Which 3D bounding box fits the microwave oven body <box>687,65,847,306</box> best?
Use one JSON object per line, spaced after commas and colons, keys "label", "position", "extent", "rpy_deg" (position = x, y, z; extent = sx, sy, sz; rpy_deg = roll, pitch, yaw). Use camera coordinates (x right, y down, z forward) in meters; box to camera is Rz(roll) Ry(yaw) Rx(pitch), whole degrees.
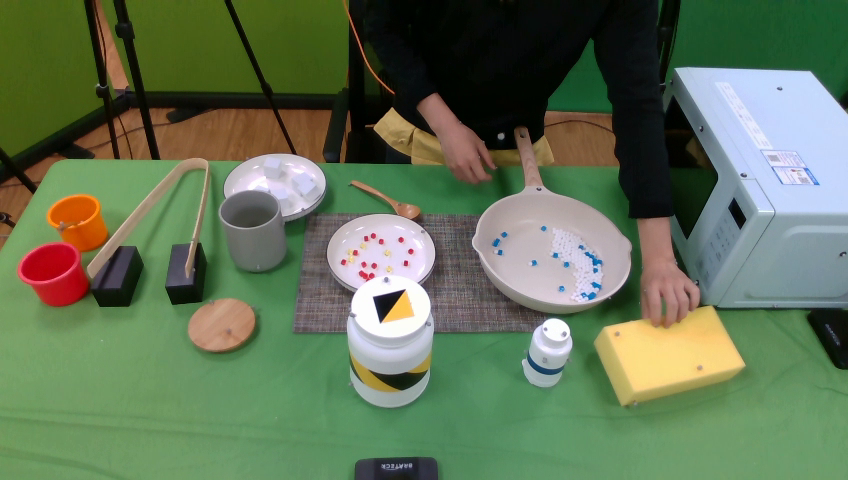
{"label": "microwave oven body", "position": [0.669, -0.111, 1.176], "extent": [0.326, 0.261, 0.439], "rpy_deg": [0, 46, -3]}

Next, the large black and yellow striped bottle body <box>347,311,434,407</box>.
{"label": "large black and yellow striped bottle body", "position": [-0.052, 0.157, 0.929], "extent": [0.131, 0.185, 0.130], "rpy_deg": [2, 47, -2]}

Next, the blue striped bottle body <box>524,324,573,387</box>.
{"label": "blue striped bottle body", "position": [0.200, 0.178, 0.970], "extent": [0.063, 0.121, 0.062], "rpy_deg": [2, 46, -2]}

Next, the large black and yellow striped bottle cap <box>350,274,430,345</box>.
{"label": "large black and yellow striped bottle cap", "position": [-0.048, 0.097, 0.867], "extent": [0.115, 0.019, 0.114], "rpy_deg": [3, 48, -3]}

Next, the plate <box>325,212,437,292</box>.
{"label": "plate", "position": [-0.080, 0.030, 1.143], "extent": [0.209, 0.038, 0.208], "rpy_deg": [2, 46, -2]}

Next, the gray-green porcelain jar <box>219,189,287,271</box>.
{"label": "gray-green porcelain jar", "position": [-0.310, -0.014, 1.113], "extent": [0.106, 0.127, 0.105], "rpy_deg": [2, 46, -2]}

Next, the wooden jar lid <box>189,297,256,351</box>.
{"label": "wooden jar lid", "position": [-0.342, 0.145, 1.033], "extent": [0.108, 0.021, 0.107], "rpy_deg": [2, 45, -2]}

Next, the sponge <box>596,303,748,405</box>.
{"label": "sponge", "position": [0.407, 0.187, 1.005], "extent": [0.207, 0.061, 0.117], "rpy_deg": [-10, 58, -12]}

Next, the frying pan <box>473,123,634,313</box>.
{"label": "frying pan", "position": [0.235, -0.060, 1.208], "extent": [0.307, 0.103, 0.484], "rpy_deg": [1, 55, -7]}

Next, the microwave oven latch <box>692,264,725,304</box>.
{"label": "microwave oven latch", "position": [0.522, 0.082, 1.116], "extent": [0.030, 0.029, 0.078], "rpy_deg": [2, 46, -1]}

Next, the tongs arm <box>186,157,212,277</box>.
{"label": "tongs arm", "position": [-0.445, -0.058, 1.168], "extent": [0.051, 0.026, 0.382], "rpy_deg": [-5, 37, -6]}

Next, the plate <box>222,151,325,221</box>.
{"label": "plate", "position": [-0.310, -0.106, 1.262], "extent": [0.208, 0.039, 0.206], "rpy_deg": [2, 47, -2]}

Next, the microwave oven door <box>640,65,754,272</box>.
{"label": "microwave oven door", "position": [0.524, -0.147, 1.193], "extent": [0.039, 0.245, 0.353], "rpy_deg": [0, 47, -3]}

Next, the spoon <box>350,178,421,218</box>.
{"label": "spoon", "position": [-0.084, -0.092, 1.272], "extent": [0.193, 0.022, 0.041], "rpy_deg": [31, 68, 25]}

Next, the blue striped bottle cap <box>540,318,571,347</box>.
{"label": "blue striped bottle cap", "position": [0.203, 0.142, 0.933], "extent": [0.044, 0.021, 0.044], "rpy_deg": [3, 49, -3]}

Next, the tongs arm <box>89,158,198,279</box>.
{"label": "tongs arm", "position": [-0.529, -0.057, 1.164], "extent": [0.028, 0.028, 0.385], "rpy_deg": [1, 36, 8]}

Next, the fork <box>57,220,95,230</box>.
{"label": "fork", "position": [-0.624, -0.027, 1.087], "extent": [0.028, 0.207, 0.018], "rpy_deg": [-3, 92, -17]}
